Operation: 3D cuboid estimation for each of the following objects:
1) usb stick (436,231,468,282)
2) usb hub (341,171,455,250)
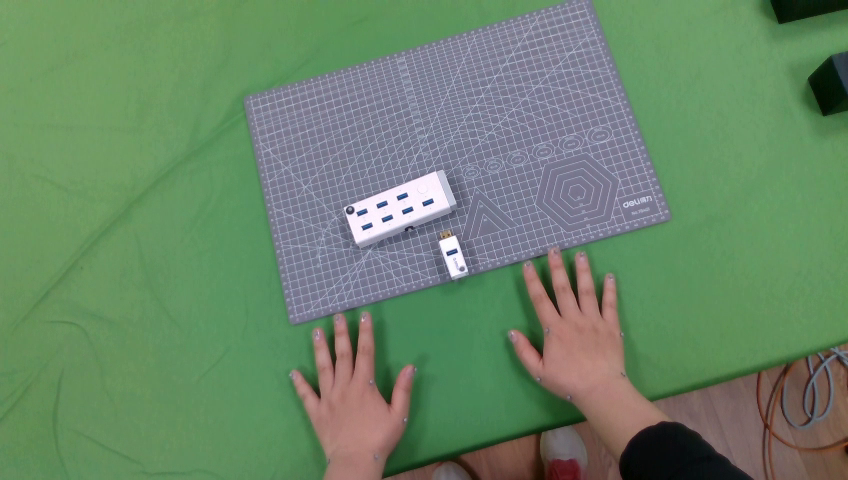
[{"bbox_3d":[0.030,0.016,0.684,0.021,0.027,0.059,-21,72,5],"label":"usb stick"},{"bbox_3d":[-0.030,-0.034,0.703,0.125,0.025,0.049,-21,75,1],"label":"usb hub"}]
